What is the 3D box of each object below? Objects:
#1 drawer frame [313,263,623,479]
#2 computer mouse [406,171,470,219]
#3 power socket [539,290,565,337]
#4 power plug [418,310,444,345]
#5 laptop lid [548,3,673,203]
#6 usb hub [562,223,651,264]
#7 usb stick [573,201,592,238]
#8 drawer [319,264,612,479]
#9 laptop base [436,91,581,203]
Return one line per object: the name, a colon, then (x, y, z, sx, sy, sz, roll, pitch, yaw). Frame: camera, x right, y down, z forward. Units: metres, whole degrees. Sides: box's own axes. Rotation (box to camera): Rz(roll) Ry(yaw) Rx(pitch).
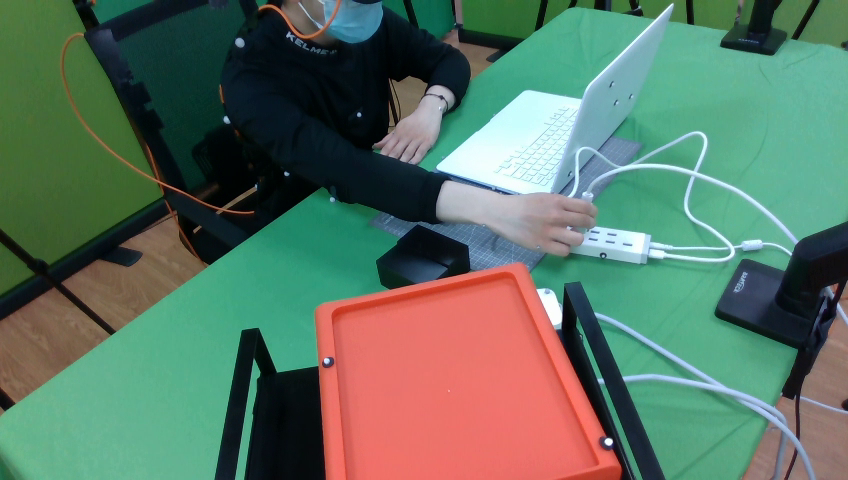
drawer frame: (0.021, 0.130, 0.494, 0.202, 0.083, 0.212, -11, 41, -6)
computer mouse: (0.024, -0.082, 1.049, 0.063, 0.041, 0.116, -29, 49, -28)
power socket: (0.081, 0.112, 0.822, 0.227, 0.033, 0.072, -6, 41, 0)
power plug: (0.007, 0.122, 0.785, 0.035, 0.053, 0.072, 0, 39, 7)
laptop lid: (0.320, -0.235, 1.026, 0.013, 0.242, 0.357, 31, 50, 20)
usb hub: (0.279, 0.005, 0.925, 0.124, 0.025, 0.049, 10, 42, 19)
usb stick: (0.238, -0.028, 0.907, 0.021, 0.059, 0.027, 11, 48, 16)
drawer: (0.020, 0.129, 0.497, 0.195, 0.073, 0.210, -11, 41, -5)
laptop base: (0.215, -0.192, 1.172, 0.233, 0.023, 0.355, 19, 46, 32)
